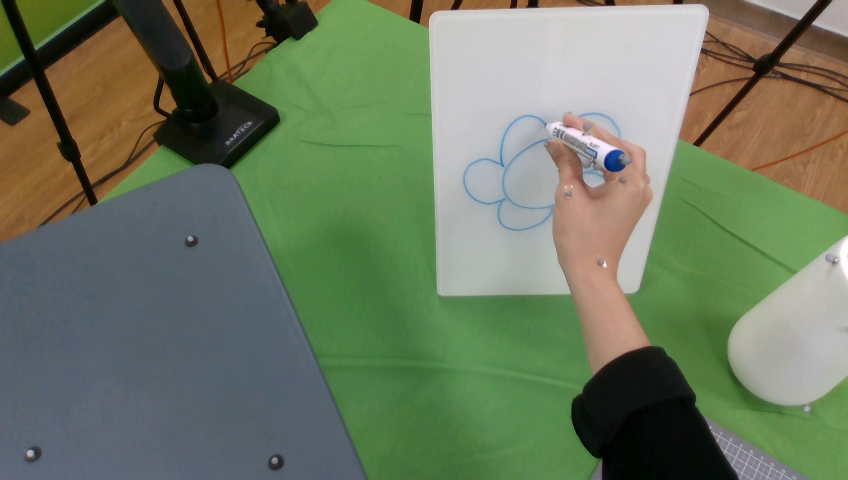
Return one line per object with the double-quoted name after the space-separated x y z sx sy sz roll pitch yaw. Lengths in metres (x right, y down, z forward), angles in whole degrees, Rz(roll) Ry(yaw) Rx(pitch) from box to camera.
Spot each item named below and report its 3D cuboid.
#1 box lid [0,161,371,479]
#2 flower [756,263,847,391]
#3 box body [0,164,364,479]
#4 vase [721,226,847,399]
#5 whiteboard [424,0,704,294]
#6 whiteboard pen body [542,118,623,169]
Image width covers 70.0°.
-0.219 0.108 0.452 0.263 0.015 0.368 -25 62 -13 "box lid"
0.337 0.009 0.464 0.044 0.365 0.038 24 45 19 "flower"
-0.216 0.148 0.515 0.254 0.162 0.360 -25 62 -12 "box body"
0.338 0.065 0.527 0.098 0.202 0.097 -1 57 2 "vase"
0.114 -0.105 0.610 0.217 0.308 0.142 0 40 2 "whiteboard"
0.115 -0.078 0.461 0.017 0.017 0.139 -12 22 -5 "whiteboard pen body"
